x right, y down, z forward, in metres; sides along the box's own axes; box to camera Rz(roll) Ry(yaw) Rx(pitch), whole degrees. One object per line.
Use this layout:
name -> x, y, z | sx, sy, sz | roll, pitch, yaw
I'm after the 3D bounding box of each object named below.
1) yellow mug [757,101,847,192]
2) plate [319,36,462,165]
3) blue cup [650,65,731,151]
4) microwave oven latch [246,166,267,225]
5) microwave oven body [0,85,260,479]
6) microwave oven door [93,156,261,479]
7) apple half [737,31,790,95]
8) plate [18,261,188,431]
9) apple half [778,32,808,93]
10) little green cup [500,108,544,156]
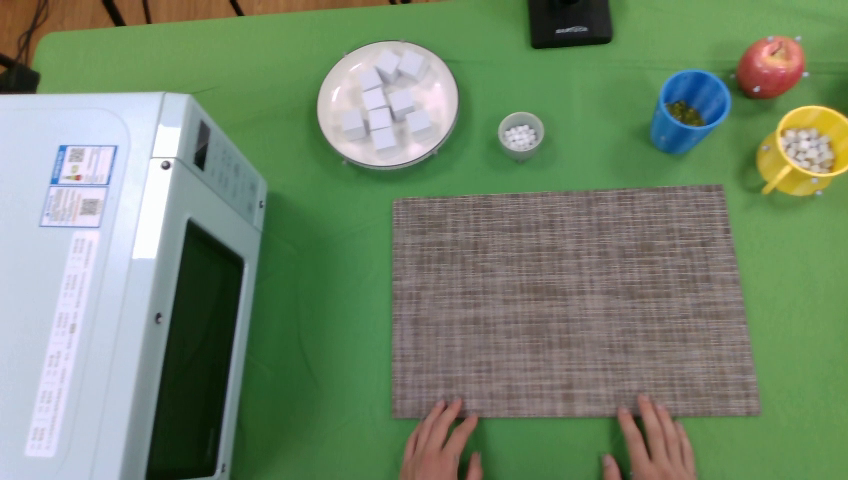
yellow mug -> 0.487, -0.110, 0.787 | 0.131, 0.064, 0.099 | -42, 73, -6
plate -> -0.047, -0.200, 0.884 | 0.207, 0.039, 0.206 | -2, 73, 5
blue cup -> 0.342, -0.166, 0.801 | 0.092, 0.101, 0.092 | -1, 74, 5
microwave oven latch -> -0.238, -0.062, 0.841 | 0.030, 0.030, 0.078 | 3, 74, 6
microwave oven body -> -0.404, 0.075, 0.714 | 0.326, 0.262, 0.439 | 1, 74, 6
microwave oven door -> -0.262, 0.116, 0.681 | 0.039, 0.245, 0.353 | 1, 73, 7
apple half -> 0.458, -0.239, 0.826 | 0.053, 0.075, 0.080 | 3, 76, 10
plate -> -0.390, 0.129, 0.749 | 0.209, 0.038, 0.208 | -1, 73, 4
apple half -> 0.497, -0.237, 0.820 | 0.033, 0.082, 0.081 | 3, 73, 10
little green cup -> 0.137, -0.149, 0.849 | 0.061, 0.039, 0.061 | -2, 72, 6
